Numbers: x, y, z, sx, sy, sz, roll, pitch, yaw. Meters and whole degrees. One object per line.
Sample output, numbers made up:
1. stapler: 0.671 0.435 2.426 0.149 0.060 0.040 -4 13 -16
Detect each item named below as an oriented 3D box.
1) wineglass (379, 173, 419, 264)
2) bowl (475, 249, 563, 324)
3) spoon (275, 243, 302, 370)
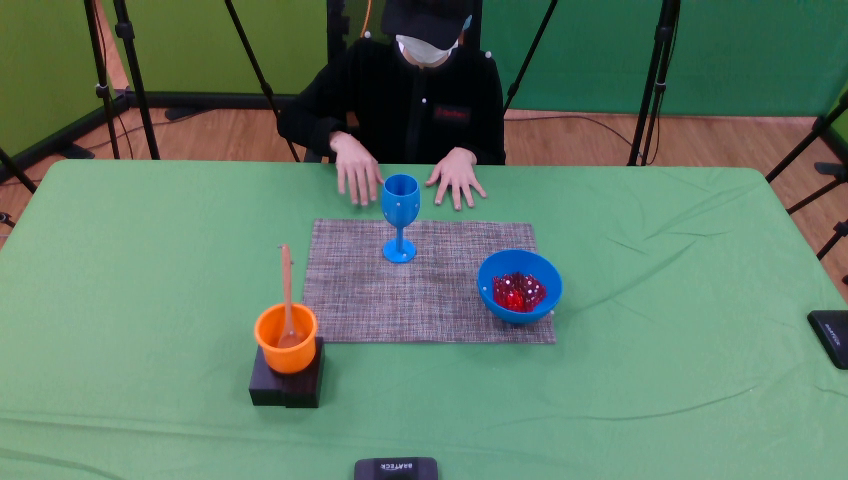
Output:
1. wineglass: -0.046 -0.036 1.120 0.074 0.173 0.073 2 46 -2
2. bowl: 0.163 0.096 1.074 0.151 0.077 0.150 2 46 -2
3. spoon: -0.209 0.101 0.926 0.041 0.193 0.021 -2 2 -6
